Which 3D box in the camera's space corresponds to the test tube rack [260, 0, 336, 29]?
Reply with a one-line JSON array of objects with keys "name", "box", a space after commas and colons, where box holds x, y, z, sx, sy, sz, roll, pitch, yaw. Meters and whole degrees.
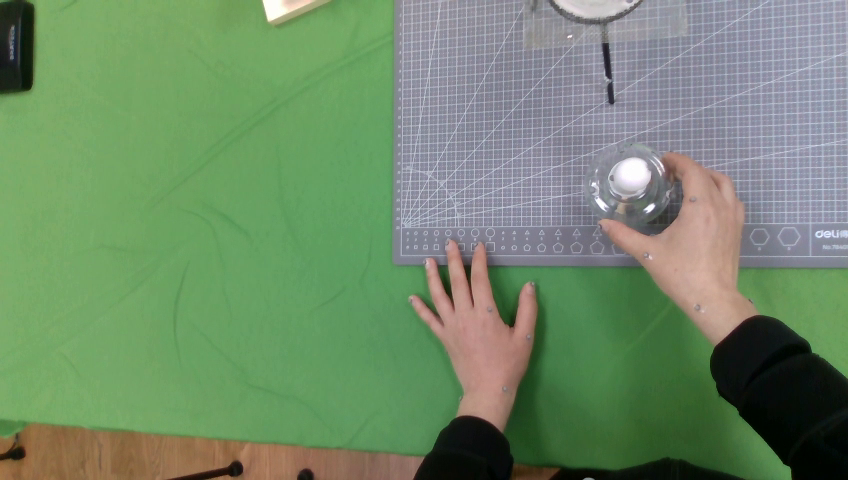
[{"name": "test tube rack", "box": [-0.087, -0.315, 0.640, 0.242, 0.085, 0.066, -18, 83, 15]}]

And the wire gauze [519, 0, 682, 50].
[{"name": "wire gauze", "box": [0.136, -0.214, 0.476, 0.125, 0.011, 0.121, -1, 92, 14]}]

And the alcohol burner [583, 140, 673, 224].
[{"name": "alcohol burner", "box": [0.182, -0.053, 0.538, 0.077, 0.119, 0.078, -1, 87, 15]}]

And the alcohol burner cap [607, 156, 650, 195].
[{"name": "alcohol burner cap", "box": [0.171, -0.055, 0.503, 0.034, 0.048, 0.034, 0, 90, 12]}]

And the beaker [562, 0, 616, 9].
[{"name": "beaker", "box": [0.117, -0.216, 0.431, 0.083, 0.100, 0.074, 13, 92, 17]}]

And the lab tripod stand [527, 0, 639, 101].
[{"name": "lab tripod stand", "box": [0.154, -0.210, 0.539, 0.148, 0.132, 0.148, 0, 89, 15]}]
